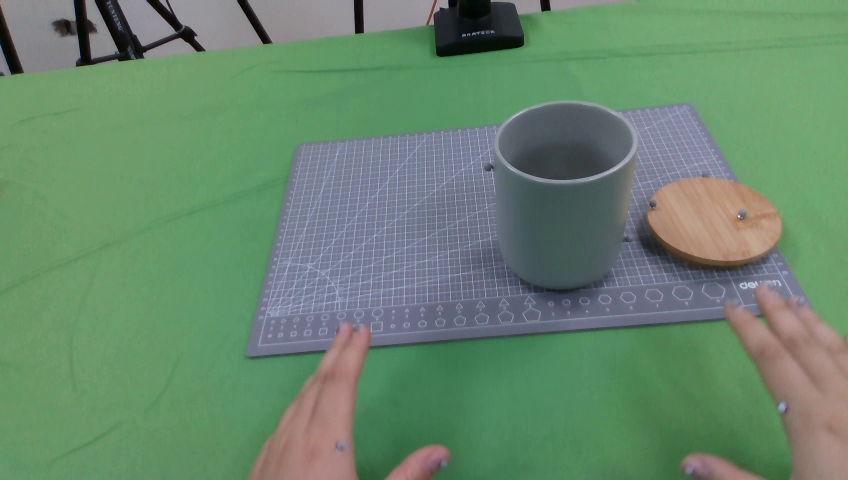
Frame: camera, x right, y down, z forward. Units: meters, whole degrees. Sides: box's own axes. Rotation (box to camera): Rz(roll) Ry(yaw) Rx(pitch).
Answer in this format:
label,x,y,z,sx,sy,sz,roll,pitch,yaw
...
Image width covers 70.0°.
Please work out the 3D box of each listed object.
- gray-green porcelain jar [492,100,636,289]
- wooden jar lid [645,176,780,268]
label,x,y,z,sx,sy,sz,roll,pitch,yaw
gray-green porcelain jar,0.110,-0.031,0.492,0.106,0.128,0.105,-5,45,5
wooden jar lid,0.249,-0.015,0.531,0.108,0.021,0.107,-5,43,5
